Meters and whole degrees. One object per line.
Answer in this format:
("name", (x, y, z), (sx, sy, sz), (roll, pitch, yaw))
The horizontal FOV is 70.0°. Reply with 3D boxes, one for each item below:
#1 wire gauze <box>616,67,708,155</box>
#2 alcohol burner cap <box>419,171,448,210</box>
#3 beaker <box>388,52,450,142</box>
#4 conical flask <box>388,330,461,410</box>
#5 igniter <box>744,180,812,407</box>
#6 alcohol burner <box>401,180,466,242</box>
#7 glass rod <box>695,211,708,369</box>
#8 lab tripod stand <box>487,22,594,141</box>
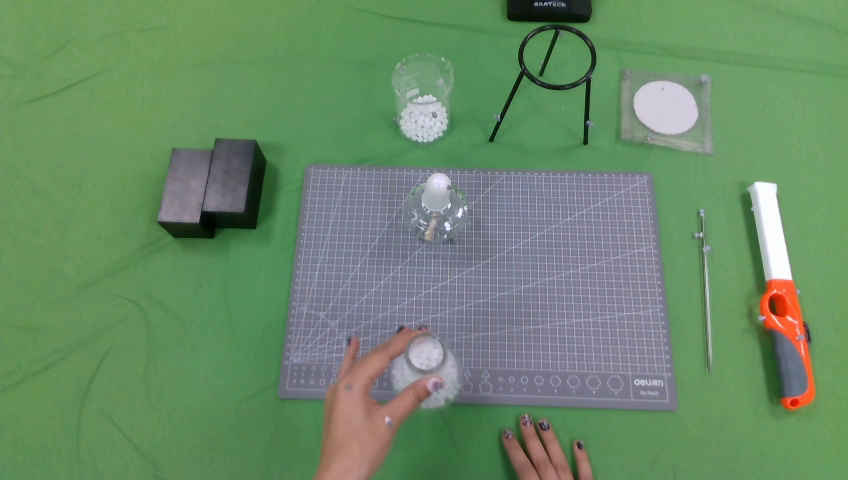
("wire gauze", (0.322, -0.179, 0.818), (0.125, 0.011, 0.120), (9, 70, 2))
("alcohol burner cap", (0.012, -0.058, 0.676), (0.034, 0.048, 0.033), (4, 63, -7))
("beaker", (-0.003, -0.179, 0.771), (0.084, 0.101, 0.073), (-37, 73, -13))
("conical flask", (0.000, 0.118, 0.576), (0.075, 0.122, 0.075), (0, 69, 0))
("igniter", (0.417, 0.056, 0.718), (0.057, 0.025, 0.274), (6, 69, -9))
("alcohol burner", (0.011, -0.044, 0.709), (0.078, 0.120, 0.077), (1, 68, -1))
("glass rod", (0.333, 0.056, 0.729), (0.008, 0.008, 0.198), (6, 69, 3))
("lab tripod stand", (0.149, -0.189, 0.755), (0.148, 0.132, 0.147), (0, 71, 1))
